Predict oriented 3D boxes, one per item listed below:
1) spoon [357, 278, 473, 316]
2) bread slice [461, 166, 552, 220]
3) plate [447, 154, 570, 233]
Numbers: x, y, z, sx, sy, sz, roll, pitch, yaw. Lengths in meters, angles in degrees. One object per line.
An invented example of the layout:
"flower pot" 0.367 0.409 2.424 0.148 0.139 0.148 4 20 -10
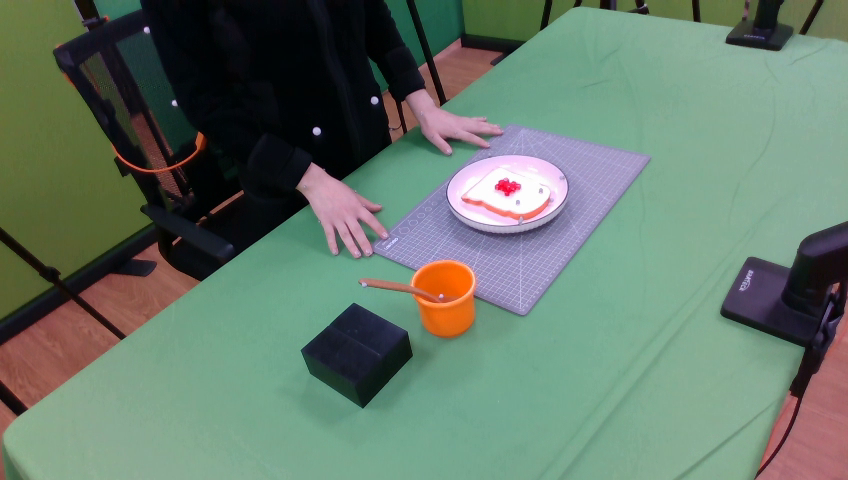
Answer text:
"spoon" -0.008 0.072 0.804 0.021 0.195 0.041 -54 41 17
"bread slice" 0.149 -0.079 1.036 0.133 0.018 0.107 22 50 32
"plate" 0.143 -0.076 1.032 0.209 0.038 0.208 -5 40 5
